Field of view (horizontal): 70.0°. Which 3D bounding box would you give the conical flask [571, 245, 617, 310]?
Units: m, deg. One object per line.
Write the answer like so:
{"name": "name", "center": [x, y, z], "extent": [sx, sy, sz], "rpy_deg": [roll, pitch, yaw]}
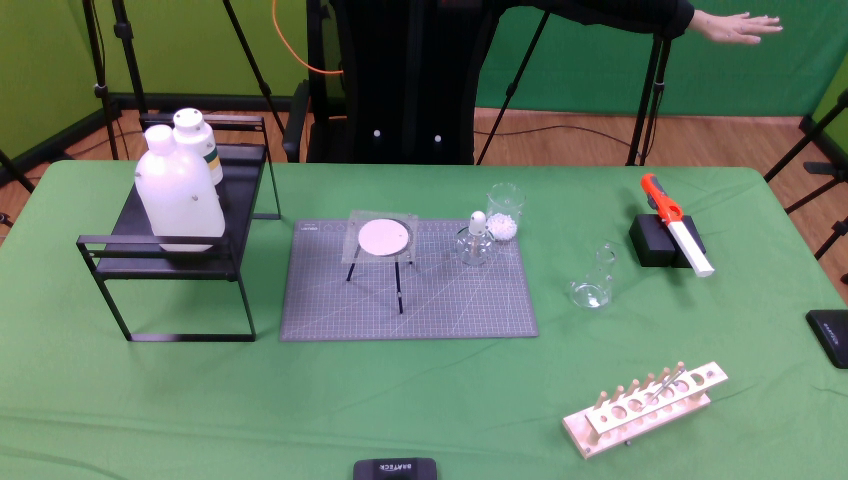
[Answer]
{"name": "conical flask", "center": [0.313, 0.064, 1.089], "extent": [0.075, 0.122, 0.075], "rpy_deg": [2, 46, -2]}

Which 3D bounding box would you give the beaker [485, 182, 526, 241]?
{"name": "beaker", "center": [0.159, -0.055, 1.205], "extent": [0.074, 0.101, 0.084], "rpy_deg": [23, 49, 17]}

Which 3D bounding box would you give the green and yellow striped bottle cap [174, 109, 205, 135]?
{"name": "green and yellow striped bottle cap", "center": [-0.369, -0.186, 0.954], "extent": [0.045, 0.020, 0.045], "rpy_deg": [3, 50, -3]}

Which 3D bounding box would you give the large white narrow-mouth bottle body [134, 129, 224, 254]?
{"name": "large white narrow-mouth bottle body", "center": [-0.358, -0.075, 0.875], "extent": [0.102, 0.195, 0.101], "rpy_deg": [2, 48, -2]}

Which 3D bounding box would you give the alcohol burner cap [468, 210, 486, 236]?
{"name": "alcohol burner cap", "center": [0.100, -0.034, 1.119], "extent": [0.034, 0.048, 0.033], "rpy_deg": [0, 53, 0]}

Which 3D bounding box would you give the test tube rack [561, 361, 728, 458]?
{"name": "test tube rack", "center": [0.341, 0.248, 0.940], "extent": [0.243, 0.085, 0.066], "rpy_deg": [-15, 49, -18]}

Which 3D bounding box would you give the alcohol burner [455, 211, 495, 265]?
{"name": "alcohol burner", "center": [0.097, -0.010, 1.147], "extent": [0.078, 0.120, 0.077], "rpy_deg": [1, 47, -1]}

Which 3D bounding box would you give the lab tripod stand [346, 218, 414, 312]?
{"name": "lab tripod stand", "center": [-0.070, 0.037, 1.075], "extent": [0.148, 0.132, 0.147], "rpy_deg": [1, 47, -1]}

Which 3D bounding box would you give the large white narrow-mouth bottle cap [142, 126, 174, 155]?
{"name": "large white narrow-mouth bottle cap", "center": [-0.356, -0.133, 0.811], "extent": [0.038, 0.024, 0.037], "rpy_deg": [2, 48, -2]}

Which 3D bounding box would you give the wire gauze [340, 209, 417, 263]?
{"name": "wire gauze", "center": [-0.074, -0.007, 1.023], "extent": [0.121, 0.011, 0.124], "rpy_deg": [3, 46, 0]}

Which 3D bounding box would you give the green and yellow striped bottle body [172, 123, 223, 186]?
{"name": "green and yellow striped bottle body", "center": [-0.373, -0.148, 0.994], "extent": [0.063, 0.120, 0.063], "rpy_deg": [2, 46, -2]}

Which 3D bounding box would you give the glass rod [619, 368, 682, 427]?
{"name": "glass rod", "center": [0.320, 0.229, 0.864], "extent": [0.008, 0.200, 0.008], "rpy_deg": [5, 52, -6]}

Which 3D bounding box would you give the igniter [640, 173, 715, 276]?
{"name": "igniter", "center": [0.495, -0.039, 1.204], "extent": [0.057, 0.025, 0.274], "rpy_deg": [-2, 47, -12]}
